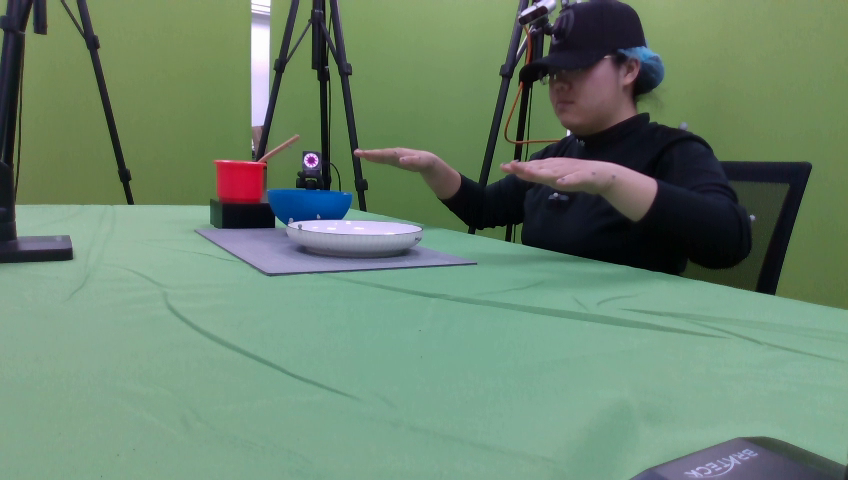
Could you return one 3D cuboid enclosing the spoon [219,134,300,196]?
[{"bbox_3d":[-0.317,-0.146,1.171,0.194,0.022,0.041,-45,22,-14],"label":"spoon"}]

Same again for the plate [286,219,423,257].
[{"bbox_3d":[-0.105,-0.004,0.923,0.208,0.039,0.207,3,8,0],"label":"plate"}]

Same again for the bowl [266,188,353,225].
[{"bbox_3d":[-0.204,-0.049,1.080,0.151,0.077,0.151,3,7,0],"label":"bowl"}]
